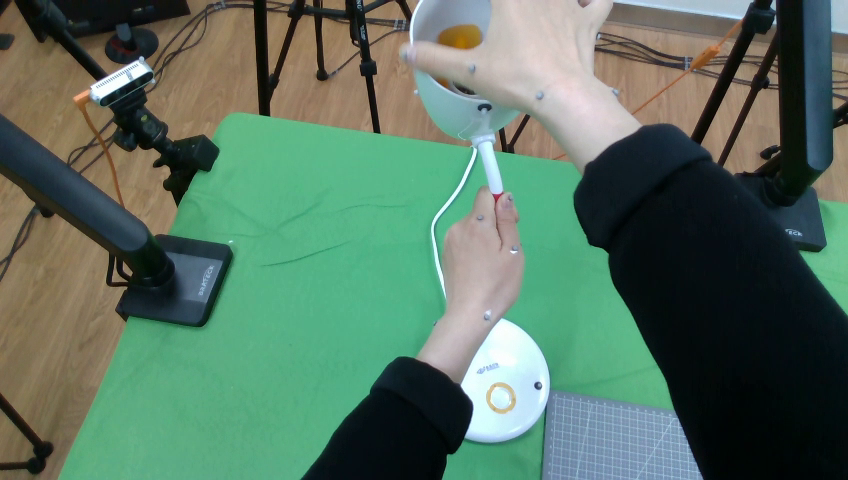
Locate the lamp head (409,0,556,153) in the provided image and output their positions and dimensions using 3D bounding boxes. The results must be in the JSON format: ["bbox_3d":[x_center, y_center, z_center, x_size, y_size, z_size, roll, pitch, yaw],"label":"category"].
[{"bbox_3d":[0.042,-0.136,0.500,0.112,0.123,0.111,1,69,-2],"label":"lamp head"}]

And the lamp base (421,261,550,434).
[{"bbox_3d":[0.072,0.113,0.695,0.161,0.182,0.177,-28,62,-17],"label":"lamp base"}]
